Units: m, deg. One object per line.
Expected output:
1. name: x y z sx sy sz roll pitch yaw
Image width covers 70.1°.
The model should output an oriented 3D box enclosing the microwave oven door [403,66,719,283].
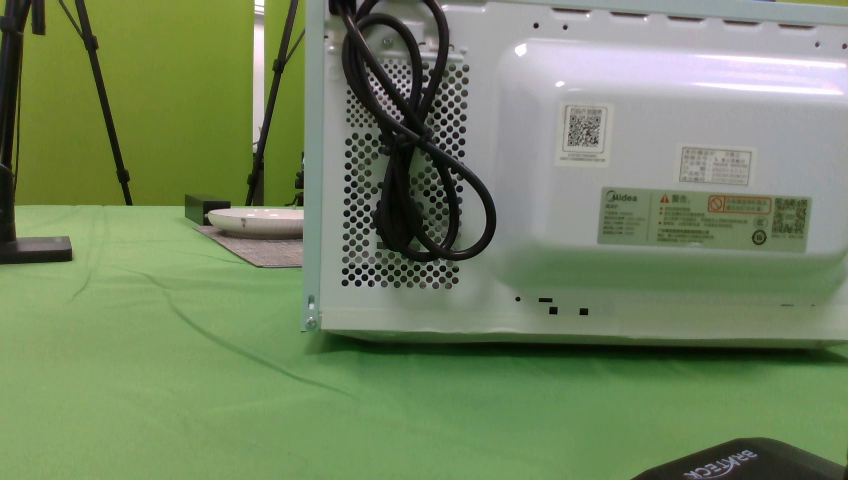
1. microwave oven door: 0.156 -0.081 0.731 0.356 0.243 0.039 3 8 7

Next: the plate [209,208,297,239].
1. plate: -0.271 -0.029 1.074 0.208 0.039 0.207 3 7 0

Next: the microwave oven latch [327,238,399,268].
1. microwave oven latch: -0.069 0.015 0.694 0.079 0.029 0.030 3 7 -3

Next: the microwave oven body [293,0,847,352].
1. microwave oven body: 0.122 -0.055 0.550 0.442 0.260 0.325 3 7 -5

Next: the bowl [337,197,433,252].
1. bowl: -0.062 -0.025 0.955 0.151 0.077 0.151 2 8 0
